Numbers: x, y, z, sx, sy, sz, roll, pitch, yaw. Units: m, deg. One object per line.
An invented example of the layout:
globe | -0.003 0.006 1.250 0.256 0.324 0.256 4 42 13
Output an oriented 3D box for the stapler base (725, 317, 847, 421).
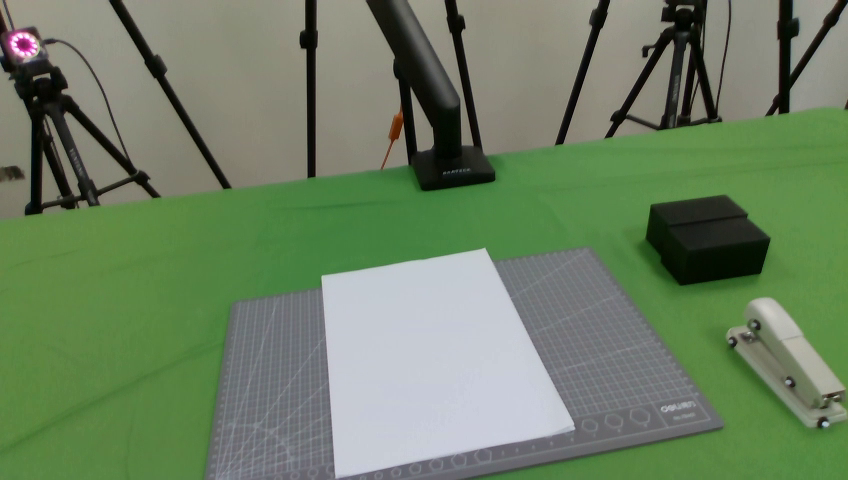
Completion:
stapler base | 0.339 0.112 0.573 0.041 0.024 0.129 -12 36 -7

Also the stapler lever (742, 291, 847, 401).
stapler lever | 0.338 0.093 0.558 0.027 0.040 0.117 -12 35 -7
